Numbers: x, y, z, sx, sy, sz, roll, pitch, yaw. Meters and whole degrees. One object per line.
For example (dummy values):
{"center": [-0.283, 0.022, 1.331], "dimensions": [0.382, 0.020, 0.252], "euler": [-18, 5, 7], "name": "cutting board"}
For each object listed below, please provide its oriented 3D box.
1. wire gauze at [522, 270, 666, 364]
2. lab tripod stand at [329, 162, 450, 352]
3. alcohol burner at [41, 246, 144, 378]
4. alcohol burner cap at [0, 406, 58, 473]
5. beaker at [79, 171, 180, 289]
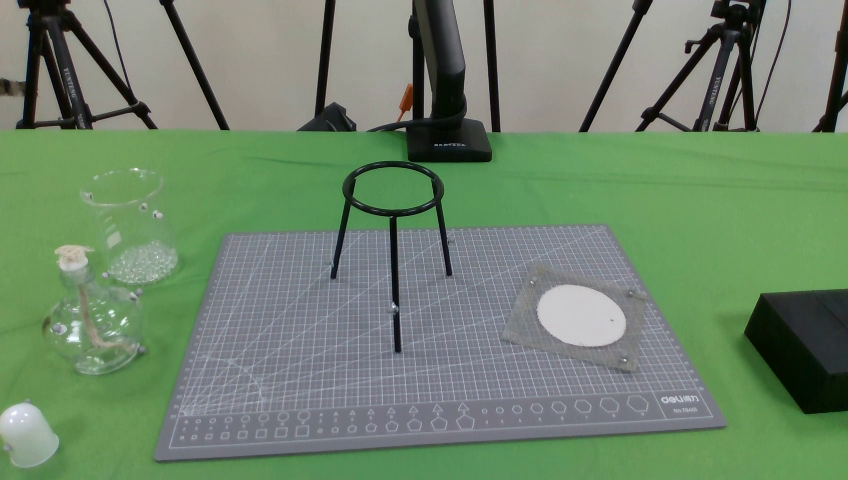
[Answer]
{"center": [0.156, 0.067, 0.575], "dimensions": [0.125, 0.011, 0.120], "euler": [8, 33, -3], "name": "wire gauze"}
{"center": [-0.028, 0.008, 0.564], "dimensions": [0.148, 0.132, 0.147], "euler": [3, 36, -2], "name": "lab tripod stand"}
{"center": [-0.278, 0.056, 0.503], "dimensions": [0.078, 0.120, 0.077], "euler": [2, 33, -1], "name": "alcohol burner"}
{"center": [-0.292, 0.142, 0.441], "dimensions": [0.034, 0.048, 0.033], "euler": [2, 34, -1], "name": "alcohol burner cap"}
{"center": [-0.289, -0.010, 0.609], "dimensions": [0.074, 0.101, 0.083], "euler": [6, 35, 4], "name": "beaker"}
